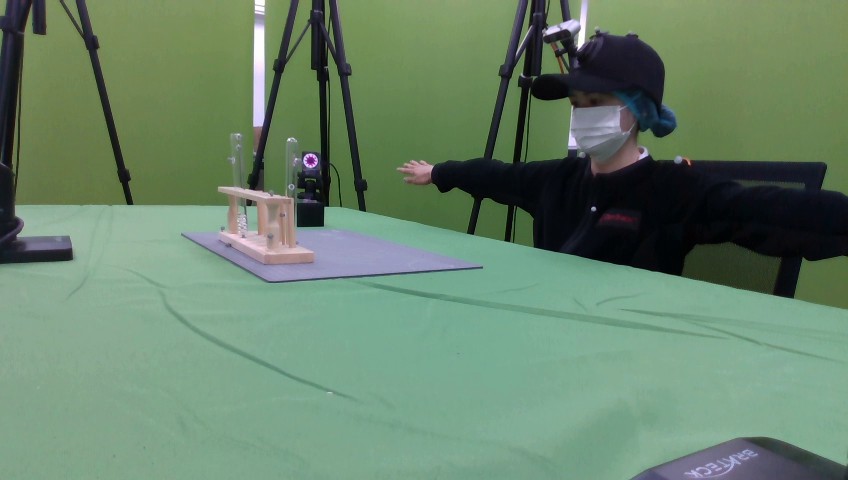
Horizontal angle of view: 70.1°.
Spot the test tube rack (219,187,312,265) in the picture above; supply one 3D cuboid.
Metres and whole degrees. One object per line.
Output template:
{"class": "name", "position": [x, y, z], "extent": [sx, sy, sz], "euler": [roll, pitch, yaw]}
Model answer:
{"class": "test tube rack", "position": [-0.235, -0.027, 0.872], "extent": [0.067, 0.085, 0.241], "euler": [-1, 8, -31]}

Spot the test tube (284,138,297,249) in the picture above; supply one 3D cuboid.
{"class": "test tube", "position": [-0.181, -0.062, 0.816], "extent": [0.017, 0.150, 0.017], "euler": [2, 7, 0]}

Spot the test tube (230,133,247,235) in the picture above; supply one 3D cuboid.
{"class": "test tube", "position": [-0.273, -0.081, 0.893], "extent": [0.017, 0.150, 0.017], "euler": [-1, 9, 0]}
